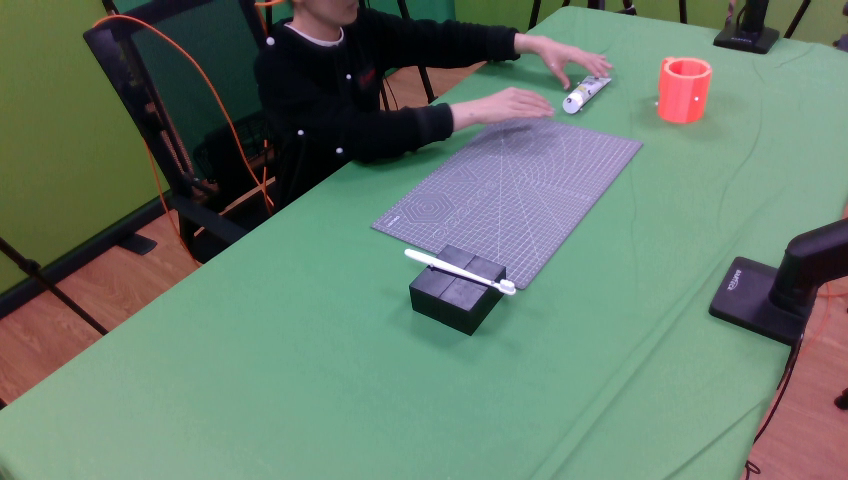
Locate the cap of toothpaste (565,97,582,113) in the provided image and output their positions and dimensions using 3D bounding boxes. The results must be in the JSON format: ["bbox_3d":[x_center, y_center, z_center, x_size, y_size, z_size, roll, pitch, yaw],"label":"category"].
[{"bbox_3d":[0.306,-0.277,1.239,0.037,0.037,0.011,17,43,26],"label":"cap of toothpaste"}]

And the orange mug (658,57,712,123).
[{"bbox_3d":[0.504,-0.304,1.193,0.083,0.101,0.125,-13,45,-5],"label":"orange mug"}]

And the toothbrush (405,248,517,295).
[{"bbox_3d":[0.048,0.041,0.850,0.180,0.017,0.014,19,52,28],"label":"toothbrush"}]

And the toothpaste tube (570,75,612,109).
[{"bbox_3d":[0.350,-0.319,1.290,0.054,0.034,0.165,22,44,24],"label":"toothpaste tube"}]
